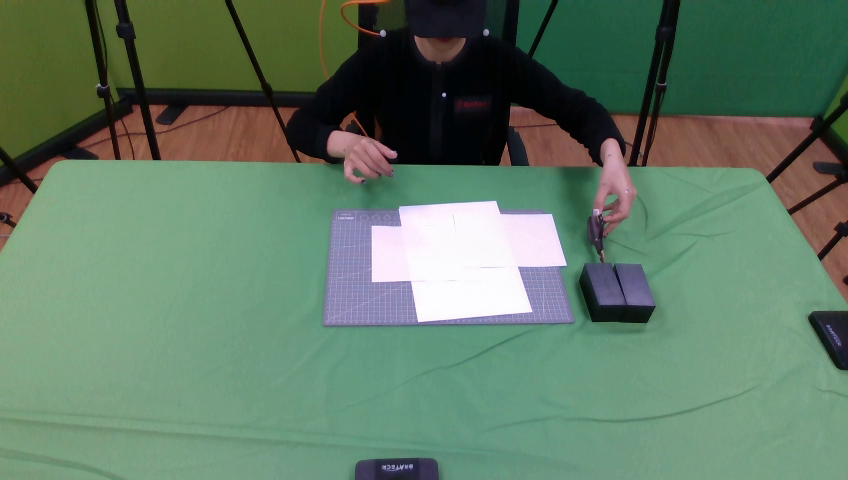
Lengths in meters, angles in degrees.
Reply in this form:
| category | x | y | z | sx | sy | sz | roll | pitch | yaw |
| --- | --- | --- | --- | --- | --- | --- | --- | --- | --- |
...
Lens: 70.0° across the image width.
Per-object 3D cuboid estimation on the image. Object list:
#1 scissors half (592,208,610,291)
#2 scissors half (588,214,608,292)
| category | x | y | z | sx | sy | sz | roll | pitch | yaw |
| --- | --- | --- | --- | --- | --- | --- | --- | --- | --- |
| scissors half | 0.346 | 0.016 | 1.177 | 0.013 | 0.040 | 0.174 | -1 | 69 | -3 |
| scissors half | 0.344 | 0.025 | 1.194 | 0.013 | 0.040 | 0.174 | 2 | 55 | -7 |
